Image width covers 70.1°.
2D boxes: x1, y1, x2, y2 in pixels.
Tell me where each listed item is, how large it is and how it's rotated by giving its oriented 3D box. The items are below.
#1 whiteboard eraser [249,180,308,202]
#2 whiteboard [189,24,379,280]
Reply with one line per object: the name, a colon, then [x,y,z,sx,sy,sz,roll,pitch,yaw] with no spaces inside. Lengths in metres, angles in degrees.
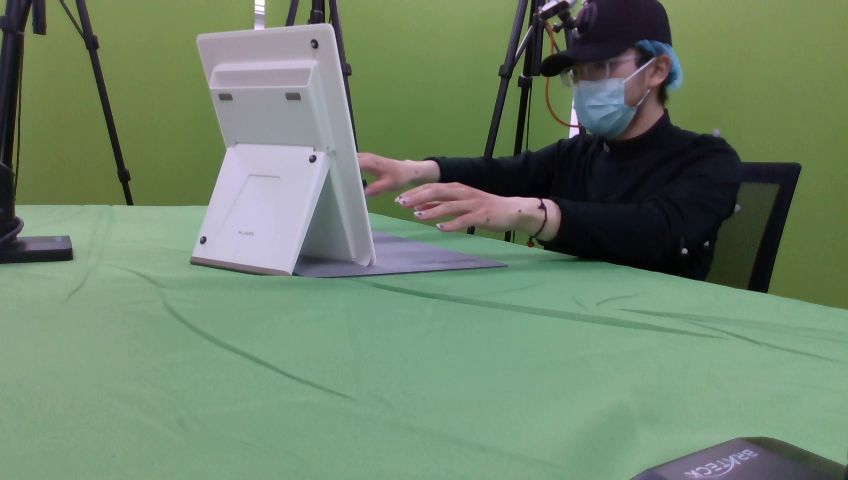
whiteboard eraser: [-0.303,-0.103,1.264,0.113,0.042,0.055,-8,18,-37]
whiteboard: [-0.207,-0.085,0.729,0.216,0.305,0.144,7,30,30]
